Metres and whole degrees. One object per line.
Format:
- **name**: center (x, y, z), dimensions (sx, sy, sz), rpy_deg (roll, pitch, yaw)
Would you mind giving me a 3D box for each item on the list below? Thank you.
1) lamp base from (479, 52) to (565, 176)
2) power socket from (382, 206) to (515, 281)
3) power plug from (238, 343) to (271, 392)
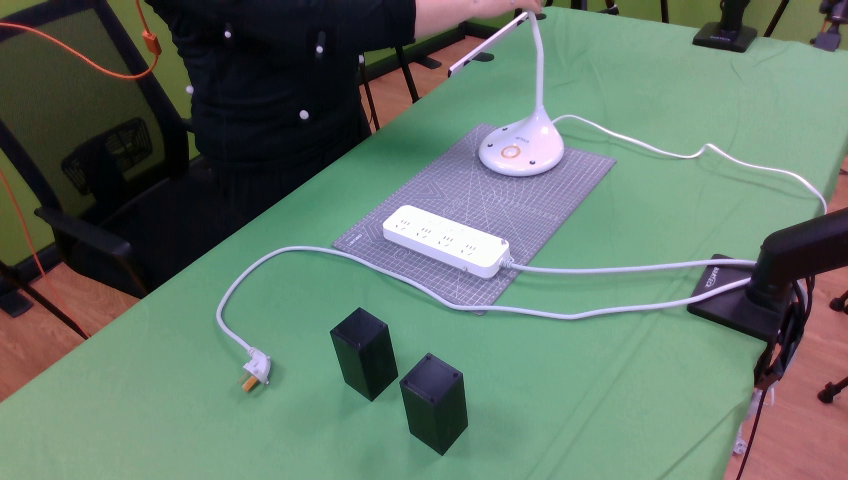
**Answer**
- **lamp base**: center (0.181, -0.235, 1.094), dimensions (0.159, 0.181, 0.179), rpy_deg (18, 44, 27)
- **power socket**: center (0.032, 0.002, 0.950), dimensions (0.225, 0.033, 0.072), rpy_deg (21, 49, 29)
- **power plug**: center (-0.230, 0.172, 0.801), dimensions (0.072, 0.035, 0.053), rpy_deg (9, 51, 50)
